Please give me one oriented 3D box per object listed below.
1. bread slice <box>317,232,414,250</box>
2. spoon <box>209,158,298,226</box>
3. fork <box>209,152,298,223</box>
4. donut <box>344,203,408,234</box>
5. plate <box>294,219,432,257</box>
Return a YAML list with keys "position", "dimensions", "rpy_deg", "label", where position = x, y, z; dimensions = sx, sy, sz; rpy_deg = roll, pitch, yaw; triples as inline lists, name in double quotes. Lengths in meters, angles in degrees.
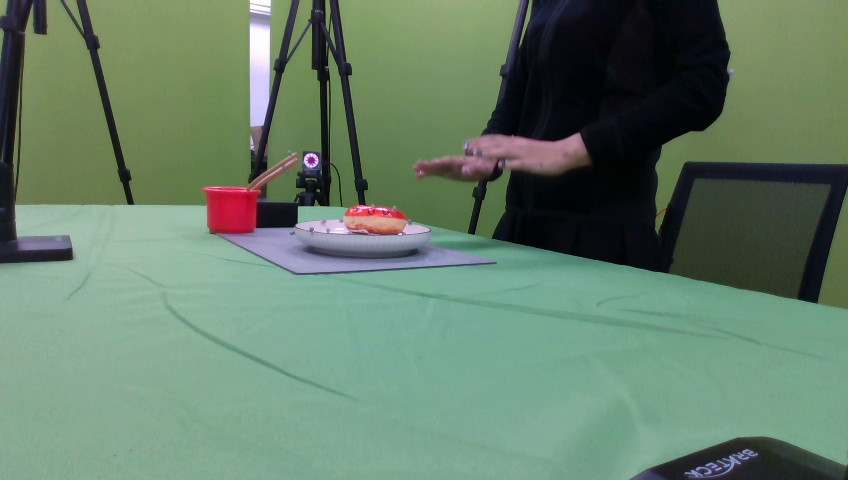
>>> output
- position: [-0.093, 0.000, 0.915]
  dimensions: [0.132, 0.019, 0.104]
  rpy_deg: [0, 6, -26]
  label: "bread slice"
- position: [-0.303, -0.087, 1.082]
  dimensions: [0.194, 0.022, 0.041]
  rpy_deg: [-44, 24, -8]
  label: "spoon"
- position: [-0.296, -0.088, 1.044]
  dimensions: [0.207, 0.018, 0.028]
  rpy_deg: [-38, 10, 16]
  label: "fork"
- position: [-0.073, -0.031, 0.931]
  dimensions: [0.099, 0.048, 0.099]
  rpy_deg: [4, 3, 0]
  label: "donut"
- position: [-0.092, -0.004, 0.924]
  dimensions: [0.209, 0.038, 0.209]
  rpy_deg: [2, 7, 0]
  label: "plate"
